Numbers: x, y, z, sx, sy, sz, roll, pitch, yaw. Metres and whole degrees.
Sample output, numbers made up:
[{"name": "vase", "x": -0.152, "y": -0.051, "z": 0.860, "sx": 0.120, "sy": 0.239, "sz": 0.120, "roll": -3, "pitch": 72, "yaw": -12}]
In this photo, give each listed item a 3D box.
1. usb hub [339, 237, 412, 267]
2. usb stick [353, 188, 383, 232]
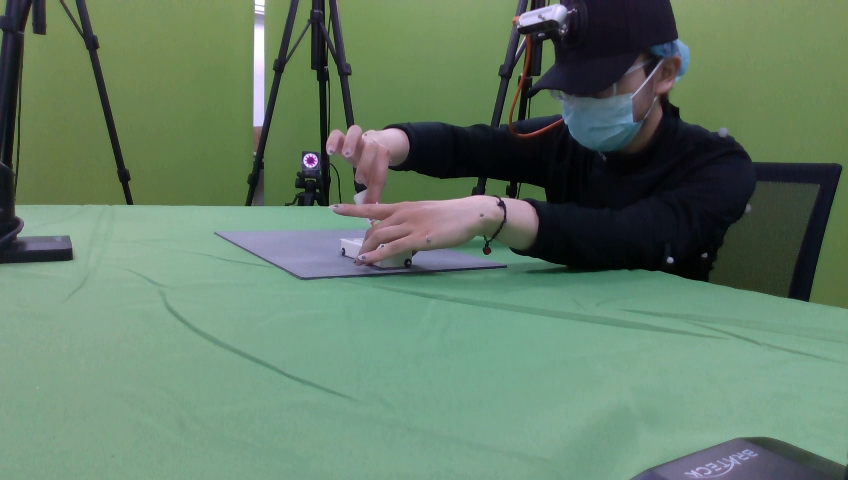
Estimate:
[{"name": "usb hub", "x": -0.070, "y": 0.015, "z": 0.832, "sx": 0.050, "sy": 0.025, "sz": 0.124, "roll": -3, "pitch": 8, "yaw": -34}, {"name": "usb stick", "x": -0.074, "y": -0.041, "z": 0.841, "sx": 0.027, "sy": 0.059, "sz": 0.021, "roll": -26, "pitch": -6, "yaw": -10}]
